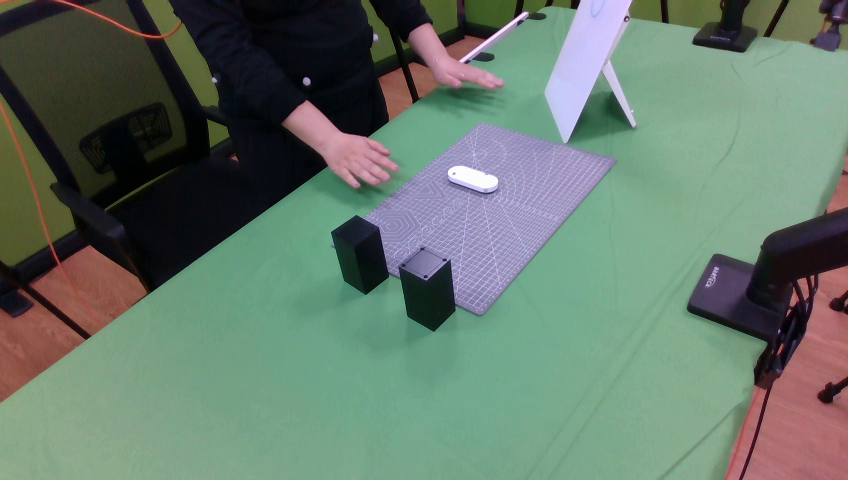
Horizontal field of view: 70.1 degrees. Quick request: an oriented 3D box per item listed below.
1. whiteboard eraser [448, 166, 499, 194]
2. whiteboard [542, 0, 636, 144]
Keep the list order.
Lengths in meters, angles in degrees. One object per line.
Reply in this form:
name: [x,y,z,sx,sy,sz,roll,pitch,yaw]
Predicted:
whiteboard eraser: [0.088,-0.108,1.082,0.100,0.019,0.041,22,49,31]
whiteboard: [0.366,-0.351,1.160,0.144,0.305,0.216,10,39,-10]
